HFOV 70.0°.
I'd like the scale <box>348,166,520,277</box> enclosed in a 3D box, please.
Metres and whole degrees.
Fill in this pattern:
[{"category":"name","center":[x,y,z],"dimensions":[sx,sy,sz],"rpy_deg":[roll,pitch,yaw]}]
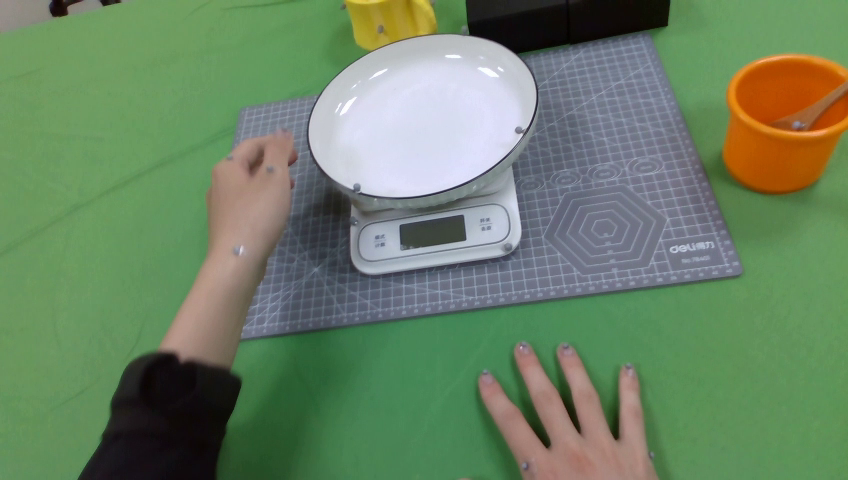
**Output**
[{"category":"scale","center":[0.004,-0.063,0.554],"dimensions":[0.148,0.032,0.199],"rpy_deg":[-8,54,9]}]

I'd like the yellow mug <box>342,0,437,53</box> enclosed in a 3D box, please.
[{"category":"yellow mug","center":[-0.032,-0.266,0.693],"dimensions":[0.100,0.064,0.129],"rpy_deg":[-43,57,-17]}]

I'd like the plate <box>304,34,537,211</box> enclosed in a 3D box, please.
[{"category":"plate","center":[-0.003,-0.105,0.545],"dimensions":[0.209,0.038,0.207],"rpy_deg":[-6,54,9]}]

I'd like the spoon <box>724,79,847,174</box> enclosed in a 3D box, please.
[{"category":"spoon","center":[0.309,-0.109,0.439],"dimensions":[0.022,0.194,0.041],"rpy_deg":[16,52,-29]}]
